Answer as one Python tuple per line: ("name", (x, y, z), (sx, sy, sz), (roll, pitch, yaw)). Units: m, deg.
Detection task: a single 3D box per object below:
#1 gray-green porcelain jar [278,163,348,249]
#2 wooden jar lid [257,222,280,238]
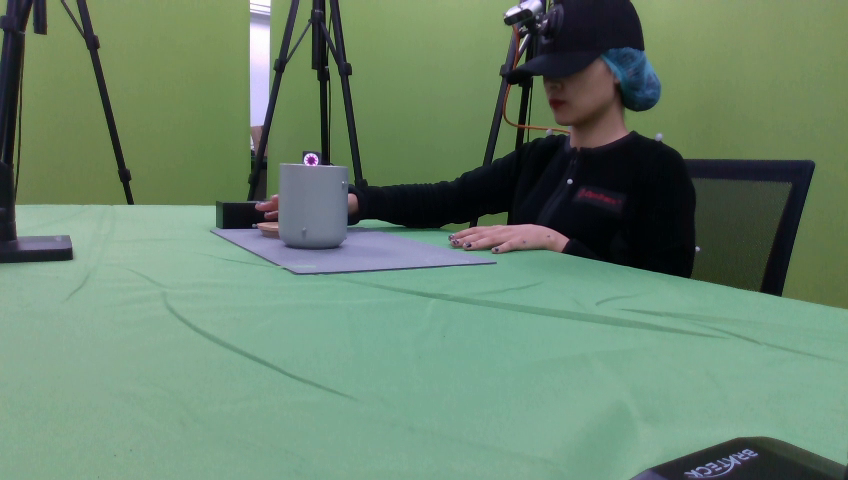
("gray-green porcelain jar", (-0.171, -0.053, 0.934), (0.106, 0.126, 0.106), (2, 7, 0))
("wooden jar lid", (-0.234, -0.017, 1.053), (0.108, 0.020, 0.108), (2, 8, 0))
